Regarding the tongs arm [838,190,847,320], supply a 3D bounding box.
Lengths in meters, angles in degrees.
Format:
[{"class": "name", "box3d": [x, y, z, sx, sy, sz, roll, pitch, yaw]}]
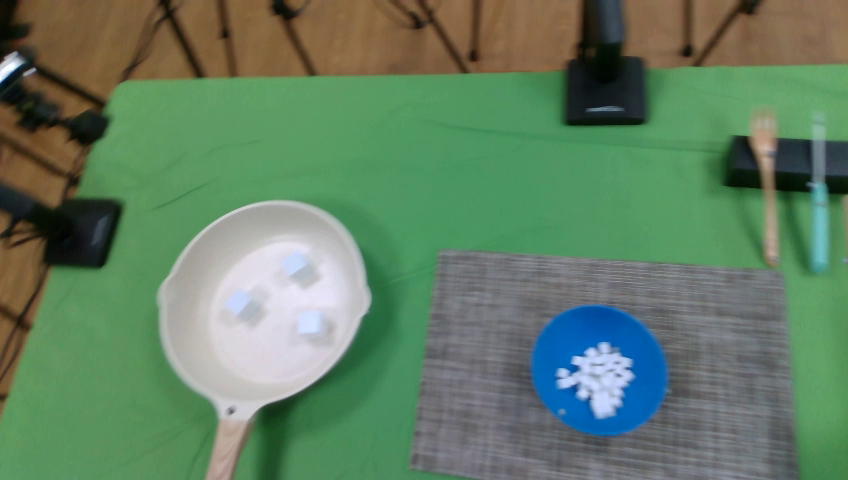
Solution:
[{"class": "tongs arm", "box3d": [0.449, 0.139, 0.605, 0.028, 0.028, 0.386, -3, 82, 8]}]

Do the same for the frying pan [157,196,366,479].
[{"class": "frying pan", "box3d": [-0.236, 0.171, 0.801, 0.306, 0.104, 0.484, 3, 60, 13]}]

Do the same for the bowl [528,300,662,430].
[{"class": "bowl", "box3d": [0.202, 0.156, 0.732, 0.151, 0.077, 0.150, -4, 67, 9]}]

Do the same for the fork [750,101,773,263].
[{"class": "fork", "box3d": [0.438, -0.074, 0.778, 0.028, 0.018, 0.207, -2, 88, 6]}]

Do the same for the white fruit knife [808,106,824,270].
[{"class": "white fruit knife", "box3d": [0.494, -0.067, 0.763, 0.016, 0.027, 0.207, 2, 85, 18]}]
